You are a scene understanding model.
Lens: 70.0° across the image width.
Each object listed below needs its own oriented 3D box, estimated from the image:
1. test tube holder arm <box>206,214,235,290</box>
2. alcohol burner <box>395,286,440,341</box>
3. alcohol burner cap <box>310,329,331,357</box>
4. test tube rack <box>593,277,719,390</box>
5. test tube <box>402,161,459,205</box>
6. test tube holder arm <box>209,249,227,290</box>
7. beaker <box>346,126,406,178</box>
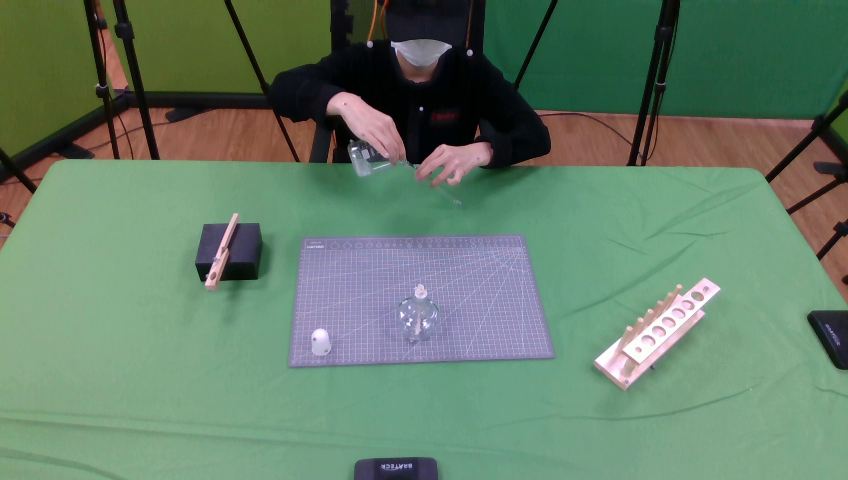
[{"bbox_3d":[-0.364,0.017,1.090,0.013,0.015,0.177,7,45,-8],"label":"test tube holder arm"},{"bbox_3d":[-0.010,0.116,1.018,0.078,0.119,0.077,3,47,-3],"label":"alcohol burner"},{"bbox_3d":[-0.173,0.168,1.005,0.034,0.048,0.033,2,46,-2],"label":"alcohol burner cap"},{"bbox_3d":[0.401,0.148,1.043,0.242,0.085,0.066,-30,55,-29],"label":"test tube rack"},{"bbox_3d":[0.016,-0.113,1.218,0.151,0.017,0.017,33,36,-31],"label":"test tube"},{"bbox_3d":[-0.359,0.050,1.059,0.010,0.015,0.087,8,45,-7],"label":"test tube holder arm"},{"bbox_3d":[-0.091,-0.164,1.159,0.100,0.084,0.073,-18,32,-1],"label":"beaker"}]
